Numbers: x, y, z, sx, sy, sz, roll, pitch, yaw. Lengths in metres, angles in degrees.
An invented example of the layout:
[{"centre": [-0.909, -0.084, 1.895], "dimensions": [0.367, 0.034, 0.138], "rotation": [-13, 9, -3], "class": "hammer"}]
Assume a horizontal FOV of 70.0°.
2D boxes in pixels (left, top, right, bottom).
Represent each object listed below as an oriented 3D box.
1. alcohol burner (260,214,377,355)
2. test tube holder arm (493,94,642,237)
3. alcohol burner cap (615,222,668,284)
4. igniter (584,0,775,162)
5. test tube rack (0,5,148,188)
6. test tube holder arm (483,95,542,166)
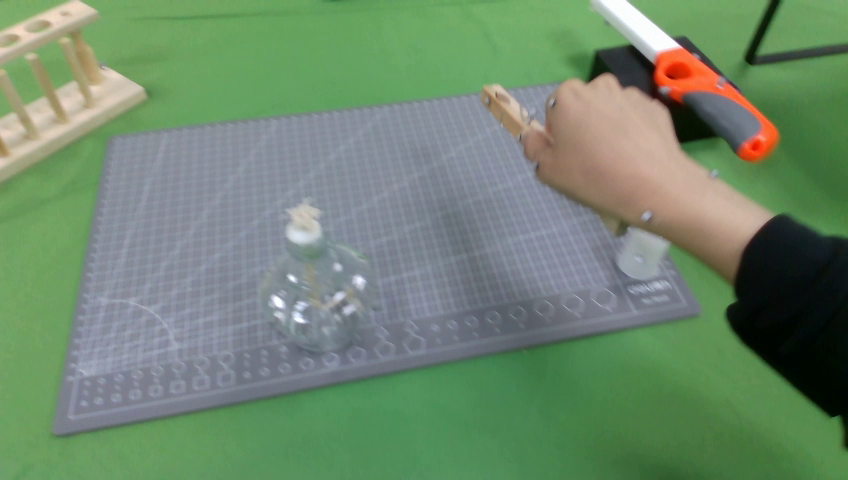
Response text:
[{"centre": [-0.071, 0.024, 0.396], "dimensions": [0.078, 0.120, 0.077], "rotation": [0, 51, 0], "class": "alcohol burner"}, {"centre": [0.092, -0.059, 0.426], "dimensions": [0.013, 0.015, 0.176], "rotation": [-24, 46, -14], "class": "test tube holder arm"}, {"centre": [0.167, 0.007, 0.461], "dimensions": [0.034, 0.048, 0.033], "rotation": [1, 48, 0], "class": "alcohol burner cap"}, {"centre": [0.225, -0.161, 0.558], "dimensions": [0.057, 0.025, 0.273], "rotation": [-15, 49, -10], "class": "igniter"}, {"centre": [-0.376, -0.108, 0.528], "dimensions": [0.066, 0.086, 0.242], "rotation": [30, 55, 23], "class": "test tube rack"}, {"centre": [0.068, -0.084, 0.455], "dimensions": [0.010, 0.015, 0.087], "rotation": [-22, 45, -12], "class": "test tube holder arm"}]
